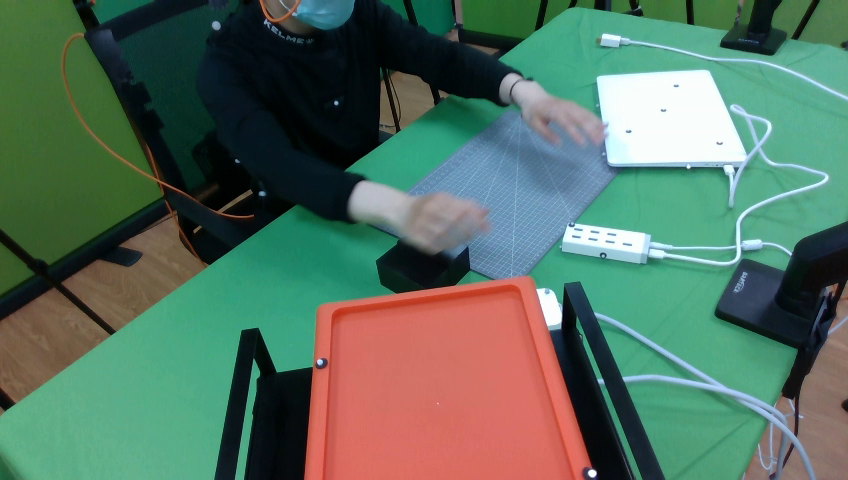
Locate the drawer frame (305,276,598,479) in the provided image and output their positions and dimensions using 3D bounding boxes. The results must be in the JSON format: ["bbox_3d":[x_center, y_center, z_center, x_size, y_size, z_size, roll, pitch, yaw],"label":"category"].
[{"bbox_3d":[0.014,0.137,0.486,0.202,0.083,0.212,-8,41,-1],"label":"drawer frame"}]

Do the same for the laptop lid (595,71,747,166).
[{"bbox_3d":[0.465,-0.248,1.181,0.241,0.013,0.355,1,41,12],"label":"laptop lid"}]

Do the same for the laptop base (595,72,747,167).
[{"bbox_3d":[0.469,-0.239,1.189,0.235,0.023,0.353,-1,40,12],"label":"laptop base"}]

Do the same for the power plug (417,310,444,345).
[{"bbox_3d":[0.007,0.122,0.785,0.035,0.053,0.072,0,39,8],"label":"power plug"}]

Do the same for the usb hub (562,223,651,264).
[{"bbox_3d":[0.279,0.004,0.926,0.124,0.025,0.049,10,43,19],"label":"usb hub"}]

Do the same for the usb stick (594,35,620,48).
[{"bbox_3d":[0.443,-0.482,1.467,0.059,0.021,0.027,10,42,10],"label":"usb stick"}]

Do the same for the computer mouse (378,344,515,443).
[{"bbox_3d":[0.017,0.126,0.521,0.116,0.041,0.063,13,47,29],"label":"computer mouse"}]

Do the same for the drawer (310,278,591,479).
[{"bbox_3d":[0.013,0.137,0.489,0.195,0.073,0.210,-7,41,0],"label":"drawer"}]

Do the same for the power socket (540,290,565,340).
[{"bbox_3d":[0.081,0.112,0.822,0.227,0.033,0.072,-6,41,0],"label":"power socket"}]
